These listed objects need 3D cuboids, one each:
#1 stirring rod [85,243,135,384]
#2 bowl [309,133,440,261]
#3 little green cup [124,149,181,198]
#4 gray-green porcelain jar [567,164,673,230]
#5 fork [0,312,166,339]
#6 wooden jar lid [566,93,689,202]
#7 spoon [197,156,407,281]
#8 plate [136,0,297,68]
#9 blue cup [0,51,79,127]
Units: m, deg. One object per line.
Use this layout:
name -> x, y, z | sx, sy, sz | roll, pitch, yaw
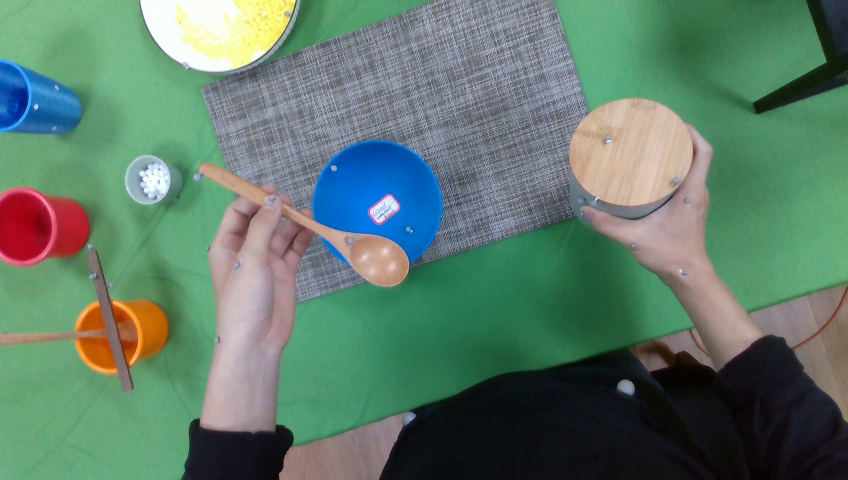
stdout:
stirring rod -> -0.377, 0.088, 0.726 | 0.014, 0.006, 0.176 | -15, 91, 6
bowl -> -0.051, -0.047, 0.714 | 0.151, 0.077, 0.151 | 0, 93, 7
little green cup -> -0.343, -0.083, 0.772 | 0.061, 0.038, 0.061 | 0, 93, 8
gray-green porcelain jar -> 0.202, -0.071, 0.626 | 0.105, 0.127, 0.105 | -3, 76, 12
fork -> -0.425, 0.107, 0.736 | 0.209, 0.018, 0.028 | 0, 96, -36
wooden jar lid -> 0.188, -0.085, 0.567 | 0.108, 0.021, 0.108 | -3, 76, 13
spoon -> -0.101, -0.022, 0.512 | 0.194, 0.021, 0.041 | 29, 96, -11
plate -> -0.253, -0.315, 0.751 | 0.209, 0.038, 0.209 | 0, 93, 7
blue cup -> -0.491, -0.180, 0.754 | 0.092, 0.100, 0.092 | 0, 93, 9
